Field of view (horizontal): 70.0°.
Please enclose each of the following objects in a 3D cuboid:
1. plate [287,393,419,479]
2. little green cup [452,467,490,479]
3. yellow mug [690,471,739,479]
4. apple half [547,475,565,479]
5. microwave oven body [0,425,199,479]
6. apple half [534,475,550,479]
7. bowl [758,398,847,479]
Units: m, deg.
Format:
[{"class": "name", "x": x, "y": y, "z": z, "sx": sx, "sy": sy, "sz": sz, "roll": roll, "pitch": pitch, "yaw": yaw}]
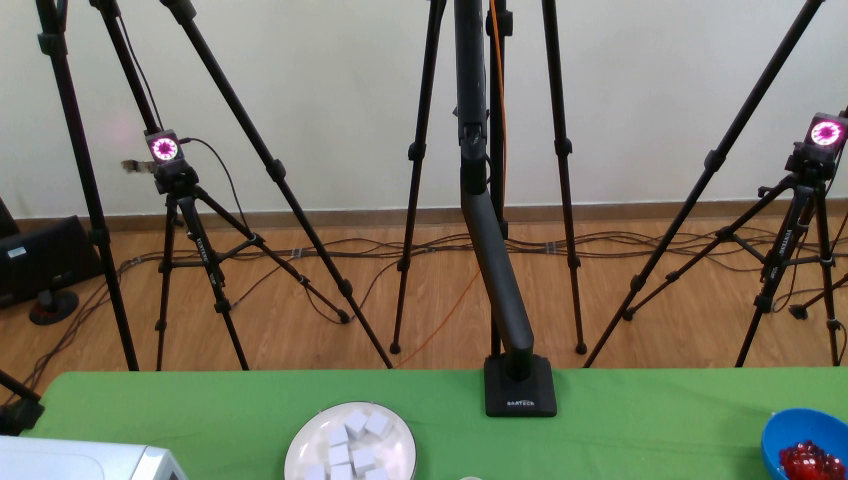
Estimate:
[{"class": "plate", "x": -0.111, "y": 0.340, "z": 0.962, "sx": 0.207, "sy": 0.039, "sz": 0.205, "roll": -3, "pitch": 42, "yaw": 3}, {"class": "little green cup", "x": 0.070, "y": 0.377, "z": 0.905, "sx": 0.061, "sy": 0.039, "sz": 0.061, "roll": -3, "pitch": 42, "yaw": 3}, {"class": "yellow mug", "x": 0.395, "y": 0.390, "z": 0.841, "sx": 0.131, "sy": 0.064, "sz": 0.099, "roll": -23, "pitch": 46, "yaw": -18}, {"class": "apple half", "x": 0.204, "y": 0.374, "z": 0.869, "sx": 0.033, "sy": 0.082, "sz": 0.080, "roll": -17, "pitch": 43, "yaw": -8}, {"class": "microwave oven body", "x": -0.482, "y": 0.468, "z": 0.679, "sx": 0.326, "sy": 0.262, "sz": 0.437, "roll": 2, "pitch": 43, "yaw": 6}, {"class": "apple half", "x": 0.167, "y": 0.385, "z": 0.862, "sx": 0.053, "sy": 0.075, "sz": 0.080, "roll": -18, "pitch": 47, "yaw": -7}, {"class": "bowl", "x": 0.567, "y": 0.319, "z": 0.895, "sx": 0.151, "sy": 0.077, "sz": 0.150, "roll": -3, "pitch": 42, "yaw": 3}]
